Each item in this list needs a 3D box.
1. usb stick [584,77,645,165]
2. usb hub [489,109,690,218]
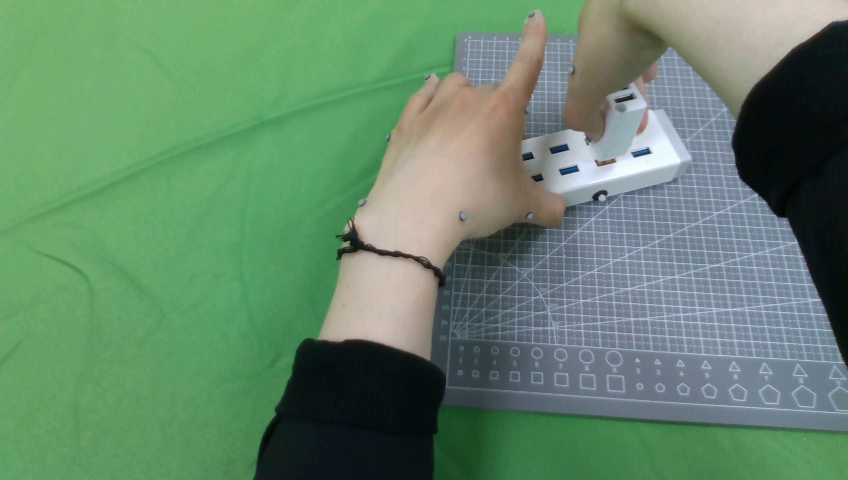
[{"bbox_3d":[0.117,-0.071,0.381,0.021,0.059,0.027,-17,58,-7],"label":"usb stick"},{"bbox_3d":[0.110,-0.054,0.412,0.125,0.025,0.049,-13,63,-7],"label":"usb hub"}]
